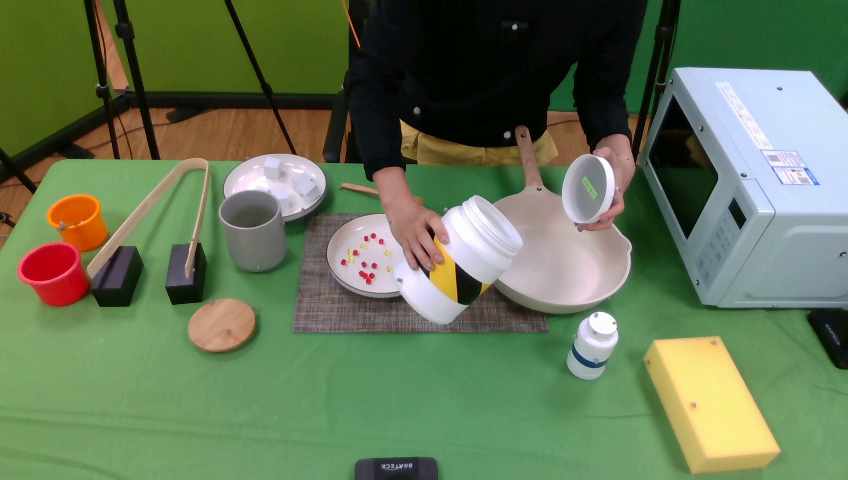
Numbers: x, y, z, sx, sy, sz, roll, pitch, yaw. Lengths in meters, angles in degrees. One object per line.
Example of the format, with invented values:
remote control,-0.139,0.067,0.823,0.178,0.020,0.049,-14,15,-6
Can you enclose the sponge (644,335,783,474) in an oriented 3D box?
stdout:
sponge,0.448,0.253,0.956,0.118,0.061,0.205,-3,47,-8

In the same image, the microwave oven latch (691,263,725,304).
microwave oven latch,0.521,0.081,1.116,0.030,0.029,0.078,0,46,-3

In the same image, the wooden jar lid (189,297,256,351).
wooden jar lid,-0.342,0.145,1.033,0.108,0.021,0.107,2,45,-2

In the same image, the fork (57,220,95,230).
fork,-0.624,-0.027,1.087,0.028,0.207,0.018,-3,92,-17

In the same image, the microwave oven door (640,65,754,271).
microwave oven door,0.523,-0.148,1.193,0.039,0.245,0.353,0,47,-3

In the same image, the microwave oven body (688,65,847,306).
microwave oven body,0.669,-0.111,1.176,0.326,0.261,0.439,0,46,-3

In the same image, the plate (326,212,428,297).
plate,-0.080,0.030,1.143,0.209,0.038,0.208,2,46,-2

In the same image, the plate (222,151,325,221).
plate,-0.310,-0.106,1.263,0.208,0.039,0.206,2,47,-2

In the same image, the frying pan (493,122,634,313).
frying pan,0.235,-0.061,1.207,0.307,0.103,0.484,2,55,-5

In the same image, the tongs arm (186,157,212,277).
tongs arm,-0.445,-0.058,1.168,0.051,0.026,0.382,-4,37,-6

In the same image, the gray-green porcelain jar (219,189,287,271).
gray-green porcelain jar,-0.310,-0.014,1.113,0.106,0.127,0.105,2,46,-2

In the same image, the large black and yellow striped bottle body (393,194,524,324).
large black and yellow striped bottle body,0.054,0.029,0.954,0.131,0.184,0.130,38,21,-17

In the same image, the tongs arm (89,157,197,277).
tongs arm,-0.529,-0.059,1.163,0.028,0.028,0.385,2,36,7

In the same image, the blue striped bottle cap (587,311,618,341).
blue striped bottle cap,0.279,0.134,0.947,0.044,0.021,0.044,2,45,-2

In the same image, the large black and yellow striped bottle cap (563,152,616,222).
large black and yellow striped bottle cap,0.271,-0.086,0.999,0.019,0.115,0.114,4,44,-23

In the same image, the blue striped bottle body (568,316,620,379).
blue striped bottle body,0.277,0.168,0.984,0.063,0.121,0.062,2,46,-2

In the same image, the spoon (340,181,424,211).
spoon,-0.090,-0.100,1.282,0.193,0.022,0.041,18,65,13
